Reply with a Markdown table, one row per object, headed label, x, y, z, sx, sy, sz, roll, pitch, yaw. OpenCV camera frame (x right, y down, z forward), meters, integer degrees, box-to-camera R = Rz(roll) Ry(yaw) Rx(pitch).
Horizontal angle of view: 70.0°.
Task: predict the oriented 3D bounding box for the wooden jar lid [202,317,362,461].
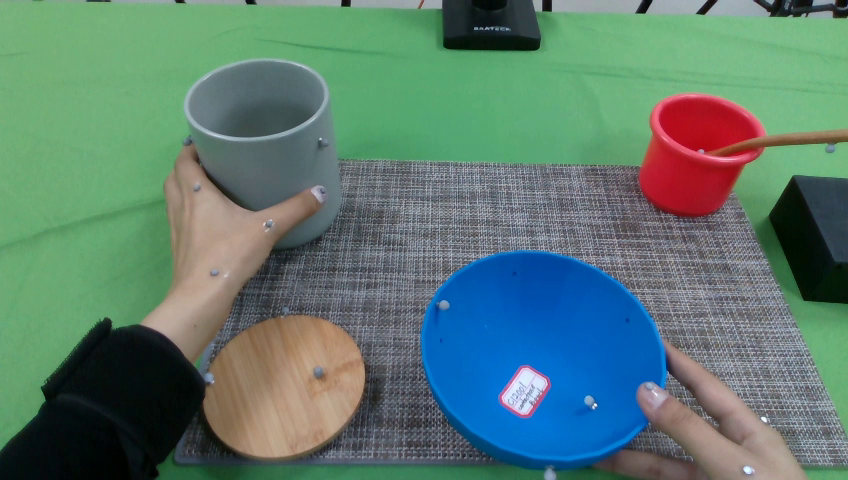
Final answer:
| label | x | y | z | sx | sy | sz | roll | pitch | yaw |
| --- | --- | --- | --- | --- | --- | --- | --- | --- | --- |
| wooden jar lid | -0.097 | 0.103 | 0.420 | 0.108 | 0.021 | 0.107 | 1 | 47 | 0 |

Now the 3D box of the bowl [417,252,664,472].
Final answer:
| label | x | y | z | sx | sy | sz | roll | pitch | yaw |
| --- | --- | --- | --- | --- | --- | --- | --- | --- | --- |
| bowl | 0.070 | 0.089 | 0.399 | 0.151 | 0.077 | 0.150 | 1 | 48 | -1 |

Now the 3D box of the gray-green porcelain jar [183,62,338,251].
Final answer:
| label | x | y | z | sx | sy | sz | roll | pitch | yaw |
| --- | --- | --- | --- | --- | --- | --- | --- | --- | --- |
| gray-green porcelain jar | -0.126 | -0.062 | 0.495 | 0.106 | 0.127 | 0.105 | 1 | 48 | -1 |

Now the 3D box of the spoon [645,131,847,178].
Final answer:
| label | x | y | z | sx | sy | sz | roll | pitch | yaw |
| --- | --- | --- | --- | --- | --- | --- | --- | --- | --- |
| spoon | 0.269 | -0.074 | 0.509 | 0.041 | 0.193 | 0.022 | -33 | 102 | -25 |
